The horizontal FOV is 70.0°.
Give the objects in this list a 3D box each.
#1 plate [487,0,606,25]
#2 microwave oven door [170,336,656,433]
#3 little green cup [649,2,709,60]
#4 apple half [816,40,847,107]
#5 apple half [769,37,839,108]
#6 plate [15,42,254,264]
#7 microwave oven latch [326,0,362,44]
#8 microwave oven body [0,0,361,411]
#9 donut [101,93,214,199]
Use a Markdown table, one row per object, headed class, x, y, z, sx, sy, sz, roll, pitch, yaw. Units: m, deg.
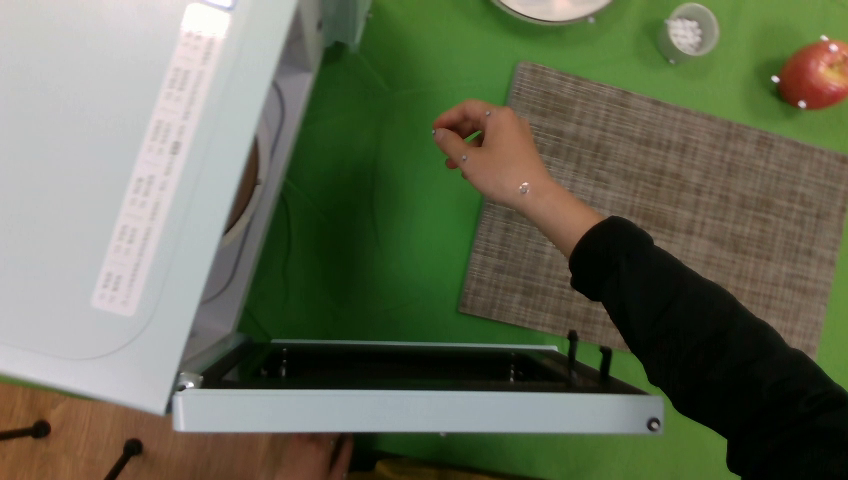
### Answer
| class | x | y | z | sx | sy | sz | roll | pitch | yaw |
| --- | --- | --- | --- | --- | --- | --- | --- | --- | --- |
| plate | 0.134 | -0.347 | 0.695 | 0.208 | 0.039 | 0.207 | 0 | 89 | -8 |
| microwave oven door | -0.013 | 0.126 | 0.549 | 0.357 | 0.243 | 0.039 | 3 | 88 | -8 |
| little green cup | 0.299 | -0.244 | 0.716 | 0.062 | 0.038 | 0.061 | 0 | 89 | -7 |
| apple half | 0.482 | -0.195 | 0.723 | 0.033 | 0.081 | 0.081 | 5 | 88 | -2 |
| apple half | 0.443 | -0.199 | 0.719 | 0.053 | 0.074 | 0.081 | 6 | 92 | -3 |
| plate | -0.268 | -0.080 | 0.575 | 0.209 | 0.038 | 0.209 | 0 | 88 | -8 |
| microwave oven latch | -0.082 | -0.254 | 0.645 | 0.030 | 0.029 | 0.079 | 21 | 87 | -7 |
| microwave oven body | -0.260 | -0.128 | 0.523 | 0.327 | 0.259 | 0.441 | 17 | 88 | -8 |
| donut | -0.248 | -0.087 | 0.566 | 0.099 | 0.048 | 0.099 | 0 | 92 | -7 |
